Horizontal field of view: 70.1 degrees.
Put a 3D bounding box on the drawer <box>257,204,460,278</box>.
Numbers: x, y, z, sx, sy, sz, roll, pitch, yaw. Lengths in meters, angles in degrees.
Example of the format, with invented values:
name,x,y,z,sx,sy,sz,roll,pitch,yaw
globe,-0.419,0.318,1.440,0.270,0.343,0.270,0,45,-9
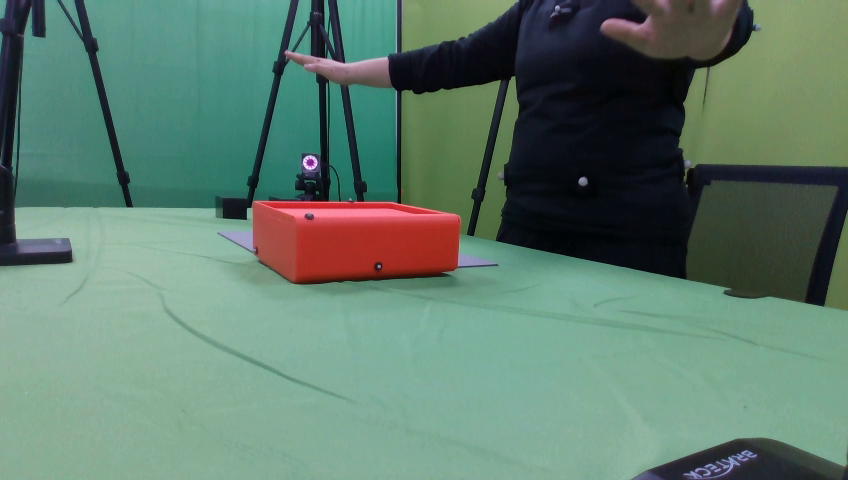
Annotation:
name,x,y,z,sx,sy,sz,roll,pitch,yaw
drawer,-0.091,-0.004,0.793,0.213,0.073,0.193,-3,10,-29

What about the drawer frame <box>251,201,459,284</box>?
name,x,y,z,sx,sy,sz,roll,pitch,yaw
drawer frame,-0.095,-0.005,0.788,0.215,0.082,0.200,-3,10,-30

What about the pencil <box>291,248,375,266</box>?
name,x,y,z,sx,sy,sz,roll,pitch,yaw
pencil,-0.112,0.020,0.793,0.012,0.012,0.195,6,6,24
